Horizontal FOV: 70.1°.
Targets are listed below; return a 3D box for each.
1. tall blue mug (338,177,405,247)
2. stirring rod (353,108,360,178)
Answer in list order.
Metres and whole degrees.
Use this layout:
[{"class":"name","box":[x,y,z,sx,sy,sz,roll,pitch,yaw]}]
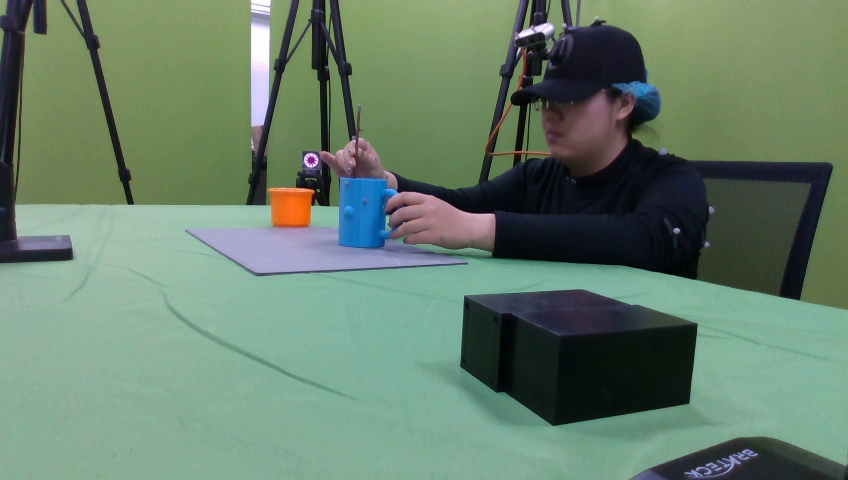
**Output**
[{"class":"tall blue mug","box":[-0.083,-0.045,0.973,0.107,0.108,0.078,2,6,0]},{"class":"stirring rod","box":[-0.112,-0.126,0.984,0.006,0.176,0.014,3,7,-12]}]
